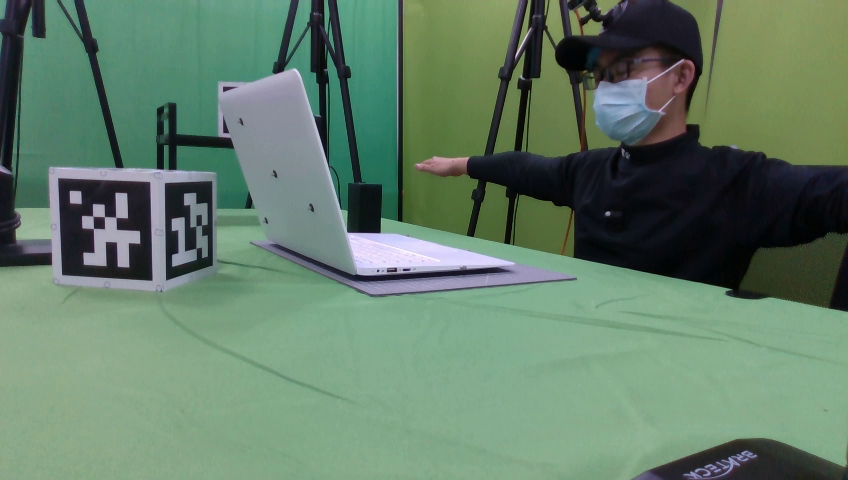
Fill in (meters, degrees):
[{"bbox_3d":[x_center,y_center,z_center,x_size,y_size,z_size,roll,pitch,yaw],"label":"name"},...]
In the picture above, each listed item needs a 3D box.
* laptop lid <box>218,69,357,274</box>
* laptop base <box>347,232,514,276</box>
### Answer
[{"bbox_3d":[-0.195,-0.090,0.798,0.013,0.242,0.355,-23,20,-27],"label":"laptop lid"},{"bbox_3d":[-0.066,0.016,0.893,0.237,0.023,0.352,1,6,-32],"label":"laptop base"}]
